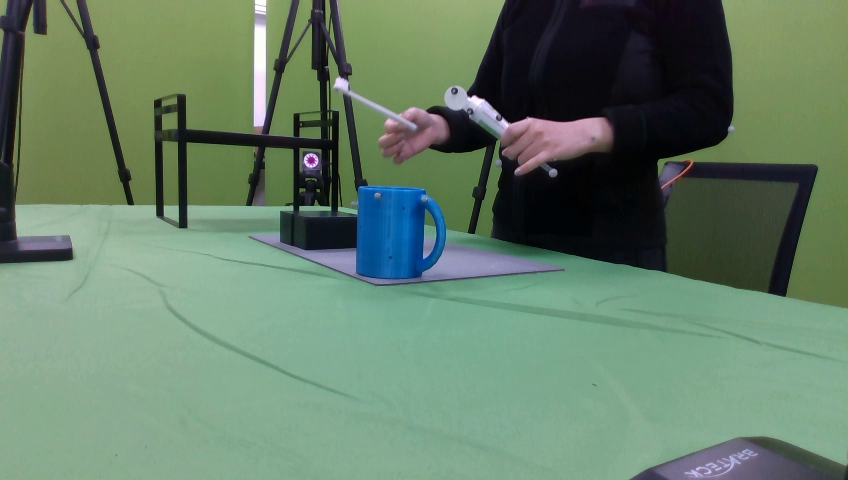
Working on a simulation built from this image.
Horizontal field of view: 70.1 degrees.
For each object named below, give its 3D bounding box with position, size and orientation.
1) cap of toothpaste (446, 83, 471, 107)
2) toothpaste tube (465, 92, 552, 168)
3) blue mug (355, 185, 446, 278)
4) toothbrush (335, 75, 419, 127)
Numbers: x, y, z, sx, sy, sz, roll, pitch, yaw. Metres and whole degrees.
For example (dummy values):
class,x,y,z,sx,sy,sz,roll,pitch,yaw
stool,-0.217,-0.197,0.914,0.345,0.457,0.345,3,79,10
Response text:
class,x,y,z,sx,sy,sz,roll,pitch,yaw
cap of toothpaste,0.051,-0.213,0.883,0.037,0.037,0.011,4,32,15
toothpaste tube,0.125,-0.163,0.900,0.165,0.034,0.055,40,11,-1
blue mug,-0.027,-0.011,0.723,0.116,0.106,0.083,7,8,27
toothbrush,-0.067,-0.209,0.927,0.014,0.016,0.183,-5,-15,39
